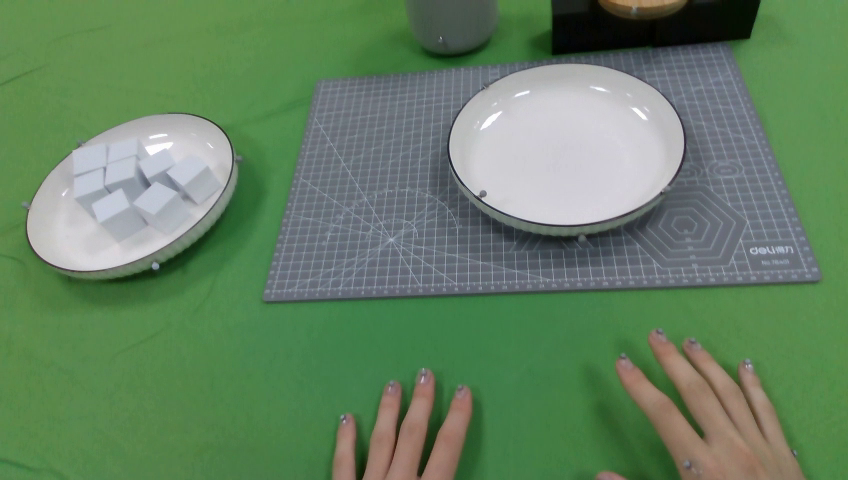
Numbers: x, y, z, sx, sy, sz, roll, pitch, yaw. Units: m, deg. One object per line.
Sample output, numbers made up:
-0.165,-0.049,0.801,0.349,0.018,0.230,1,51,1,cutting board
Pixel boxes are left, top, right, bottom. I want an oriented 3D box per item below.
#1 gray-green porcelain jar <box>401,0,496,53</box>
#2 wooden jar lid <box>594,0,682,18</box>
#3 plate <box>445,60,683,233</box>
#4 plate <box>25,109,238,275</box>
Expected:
0.025,-0.282,0.669,0.106,0.128,0.105,-5,52,7,gray-green porcelain jar
0.222,-0.263,0.622,0.108,0.021,0.107,-4,54,6,wooden jar lid
0.123,-0.086,0.554,0.209,0.038,0.207,-5,52,7,plate
-0.283,-0.047,0.604,0.207,0.039,0.205,-5,53,7,plate
